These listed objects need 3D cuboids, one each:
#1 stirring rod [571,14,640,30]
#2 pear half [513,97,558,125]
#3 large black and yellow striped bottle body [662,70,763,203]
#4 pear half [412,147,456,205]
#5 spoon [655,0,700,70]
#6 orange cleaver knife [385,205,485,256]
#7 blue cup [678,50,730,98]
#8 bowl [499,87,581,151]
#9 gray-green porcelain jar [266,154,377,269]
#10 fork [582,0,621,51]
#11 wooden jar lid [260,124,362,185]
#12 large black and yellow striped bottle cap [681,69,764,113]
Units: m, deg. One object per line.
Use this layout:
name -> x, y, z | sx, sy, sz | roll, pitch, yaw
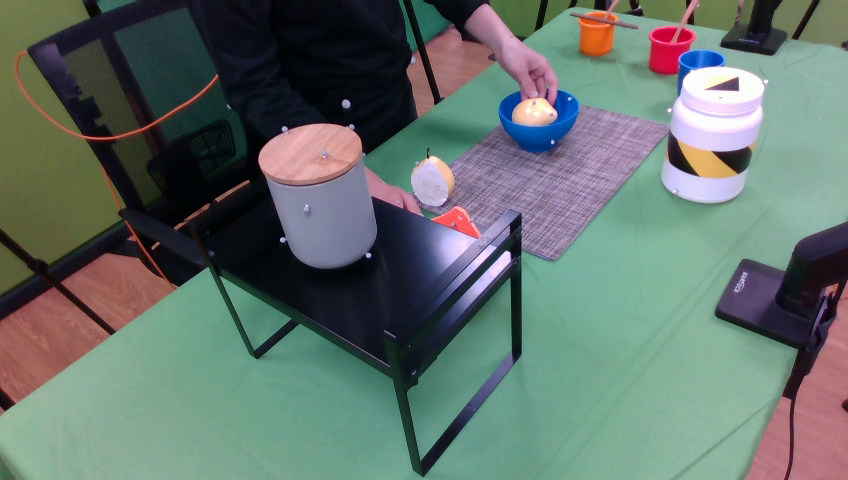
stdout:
stirring rod -> 0.419, -0.508, 1.404 | 0.174, 0.006, 0.014 | 28, 55, 35
pear half -> 0.205, -0.239, 1.131 | 0.087, 0.031, 0.070 | 11, 84, 34
large black and yellow striped bottle body -> 0.464, -0.166, 0.976 | 0.131, 0.185, 0.130 | -5, 41, 5
pear half -> 0.019, -0.120, 1.042 | 0.076, 0.110, 0.056 | 11, 44, 16
spoon -> 0.568, -0.463, 1.337 | 0.041, 0.022, 0.193 | 30, 97, 37
orange cleaver knife -> 0.012, -0.010, 0.942 | 0.012, 0.077, 0.210 | -35, 18, -36
blue cup -> 0.542, -0.310, 1.194 | 0.092, 0.101, 0.092 | -6, 41, 6
bowl -> 0.220, -0.223, 1.155 | 0.151, 0.077, 0.150 | -4, 40, 4
gray-green porcelain jar -> -0.112, -0.039, 0.685 | 0.106, 0.127, 0.105 | -4, 40, 4
fork -> 0.446, -0.539, 1.438 | 0.207, 0.019, 0.028 | -57, 36, 12
wooden jar lid -> -0.119, -0.088, 0.644 | 0.108, 0.021, 0.108 | -4, 40, 3
large black and yellow striped bottle cap -> 0.453, -0.229, 0.921 | 0.115, 0.019, 0.114 | -4, 39, 4
